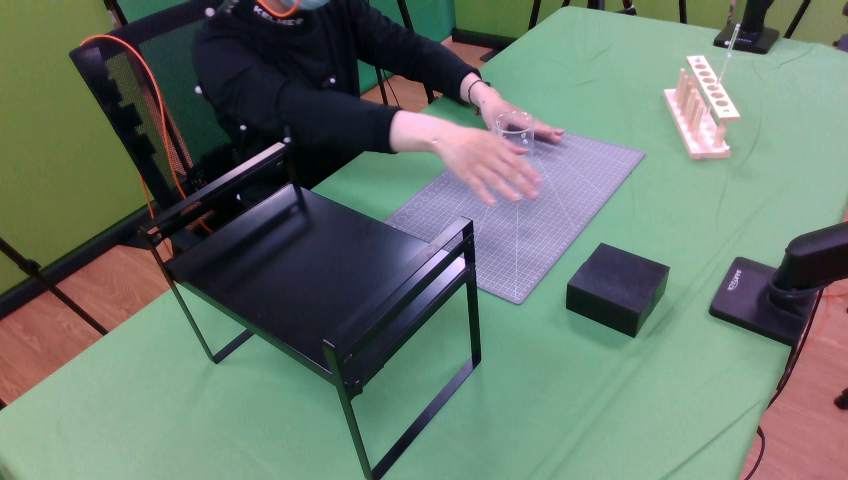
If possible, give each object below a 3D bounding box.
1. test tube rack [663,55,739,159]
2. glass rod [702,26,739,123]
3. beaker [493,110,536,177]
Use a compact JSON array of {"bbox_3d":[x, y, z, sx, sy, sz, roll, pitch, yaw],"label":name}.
[{"bbox_3d":[0.518,-0.256,1.144,0.066,0.085,0.241,-1,41,8],"label":"test tube rack"},{"bbox_3d":[0.526,-0.287,1.078,0.008,0.200,0.008,-2,49,3],"label":"glass rod"},{"bbox_3d":[0.165,-0.172,1.082,0.084,0.101,0.073,-34,48,-28],"label":"beaker"}]
